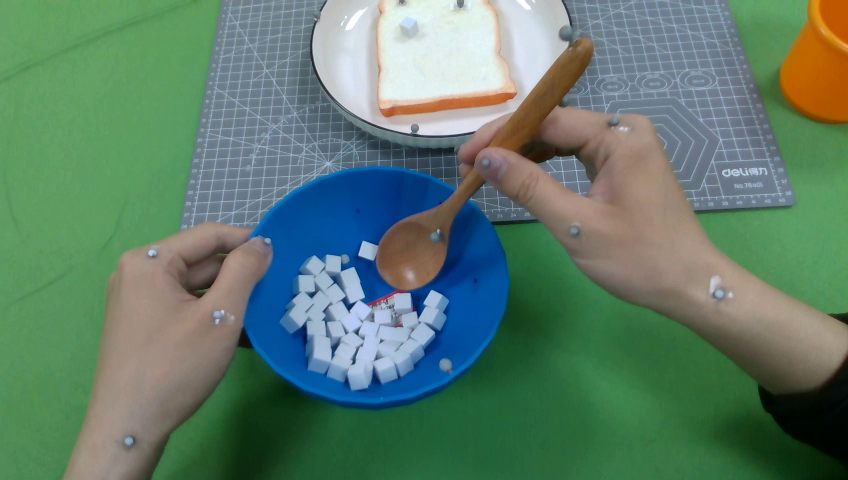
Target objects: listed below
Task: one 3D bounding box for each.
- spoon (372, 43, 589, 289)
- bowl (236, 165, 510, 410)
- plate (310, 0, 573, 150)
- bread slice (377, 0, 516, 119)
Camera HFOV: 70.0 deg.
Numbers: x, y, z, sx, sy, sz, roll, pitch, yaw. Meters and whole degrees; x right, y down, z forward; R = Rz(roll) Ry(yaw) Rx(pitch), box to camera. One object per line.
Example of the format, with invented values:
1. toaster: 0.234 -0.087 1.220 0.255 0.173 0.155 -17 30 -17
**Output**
1. spoon: 0.022 -0.027 0.319 0.041 0.194 0.021 41 48 -1
2. bowl: -0.028 0.037 0.366 0.151 0.077 0.150 1 58 -1
3. plate: 0.013 -0.156 0.496 0.209 0.038 0.207 -2 63 4
4. bread slice: 0.010 -0.159 0.501 0.107 0.018 0.133 -9 64 0
